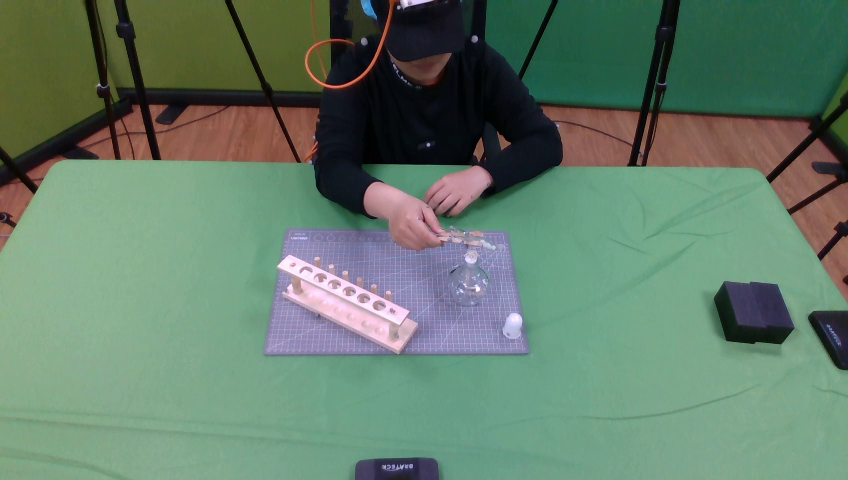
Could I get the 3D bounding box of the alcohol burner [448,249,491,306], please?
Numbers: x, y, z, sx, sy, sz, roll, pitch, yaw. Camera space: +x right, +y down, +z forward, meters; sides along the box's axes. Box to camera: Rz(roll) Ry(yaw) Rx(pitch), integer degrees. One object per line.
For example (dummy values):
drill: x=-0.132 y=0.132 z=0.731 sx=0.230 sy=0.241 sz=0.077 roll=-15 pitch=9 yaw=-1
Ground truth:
alcohol burner: x=0.081 y=0.062 z=1.078 sx=0.078 sy=0.120 sz=0.077 roll=1 pitch=45 yaw=-1

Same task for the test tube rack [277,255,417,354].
test tube rack: x=-0.131 y=0.099 z=1.045 sx=0.241 sy=0.085 sz=0.066 roll=23 pitch=49 yaw=17

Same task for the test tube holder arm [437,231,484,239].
test tube holder arm: x=0.059 y=-0.007 z=1.007 sx=0.087 sy=0.015 sz=0.010 roll=-3 pitch=71 yaw=38

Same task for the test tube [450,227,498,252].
test tube: x=0.086 y=0.001 z=1.007 sx=0.017 sy=0.151 sz=0.017 roll=-7 pitch=75 yaw=30

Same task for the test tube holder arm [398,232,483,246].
test tube holder arm: x=0.024 y=-0.003 z=1.034 sx=0.178 sy=0.015 sz=0.013 roll=4 pitch=75 yaw=40

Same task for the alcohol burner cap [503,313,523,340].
alcohol burner cap: x=0.156 y=0.148 z=1.051 sx=0.034 sy=0.048 sz=0.033 roll=1 pitch=45 yaw=-1
